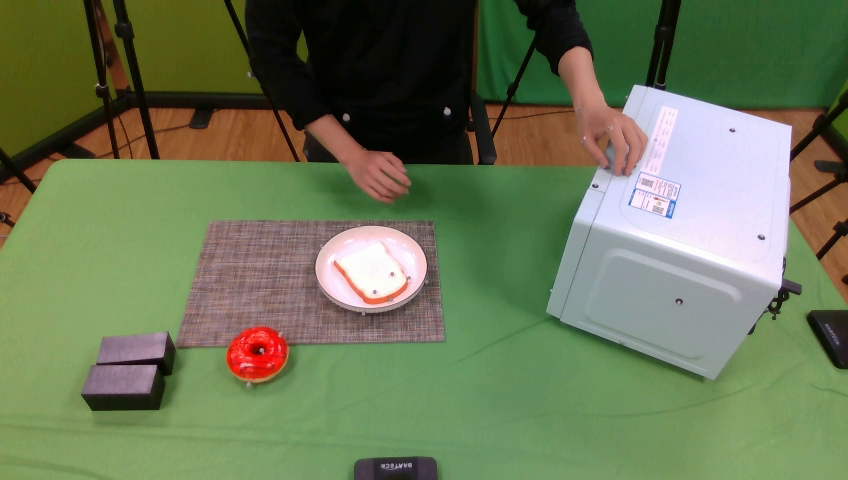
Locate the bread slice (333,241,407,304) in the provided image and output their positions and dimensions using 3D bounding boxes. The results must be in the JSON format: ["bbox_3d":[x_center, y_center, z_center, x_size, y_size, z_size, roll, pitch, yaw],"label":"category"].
[{"bbox_3d":[-0.092,0.060,1.117,0.105,0.019,0.130,-24,52,-24],"label":"bread slice"}]

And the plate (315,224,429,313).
[{"bbox_3d":[-0.096,0.055,1.121,0.208,0.039,0.206,2,46,-2],"label":"plate"}]

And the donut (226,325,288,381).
[{"bbox_3d":[-0.270,0.182,0.984,0.099,0.048,0.098,5,49,-5],"label":"donut"}]

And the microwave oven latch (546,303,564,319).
[{"bbox_3d":[0.242,0.102,1.081,0.030,0.029,0.079,22,48,17],"label":"microwave oven latch"}]

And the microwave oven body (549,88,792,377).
[{"bbox_3d":[0.456,-0.028,1.088,0.325,0.261,0.440,20,47,16],"label":"microwave oven body"}]

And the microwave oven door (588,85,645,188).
[{"bbox_3d":[0.342,-0.107,1.148,0.039,0.245,0.354,21,48,15],"label":"microwave oven door"}]
